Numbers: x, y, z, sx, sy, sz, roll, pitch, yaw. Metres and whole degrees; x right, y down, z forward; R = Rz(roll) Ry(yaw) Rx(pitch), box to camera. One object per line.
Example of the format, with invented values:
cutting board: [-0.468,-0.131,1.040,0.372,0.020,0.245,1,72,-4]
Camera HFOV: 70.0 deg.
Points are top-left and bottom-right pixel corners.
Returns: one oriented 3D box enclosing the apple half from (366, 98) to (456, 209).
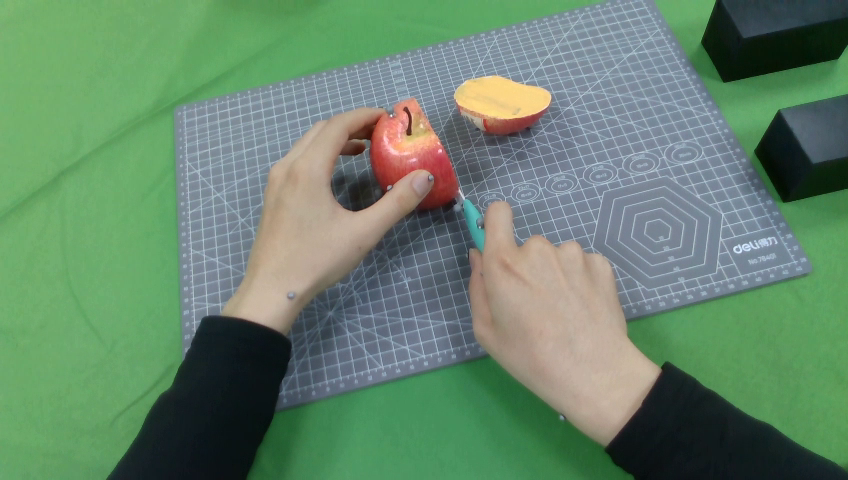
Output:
apple half: [-0.015,-0.058,0.458,0.053,0.075,0.080,-27,66,-3]

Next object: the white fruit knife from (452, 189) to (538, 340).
white fruit knife: [0.032,-0.017,0.454,0.016,0.028,0.205,-22,57,-8]

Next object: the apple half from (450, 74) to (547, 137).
apple half: [0.057,-0.102,0.493,0.081,0.033,0.080,-1,42,1]
